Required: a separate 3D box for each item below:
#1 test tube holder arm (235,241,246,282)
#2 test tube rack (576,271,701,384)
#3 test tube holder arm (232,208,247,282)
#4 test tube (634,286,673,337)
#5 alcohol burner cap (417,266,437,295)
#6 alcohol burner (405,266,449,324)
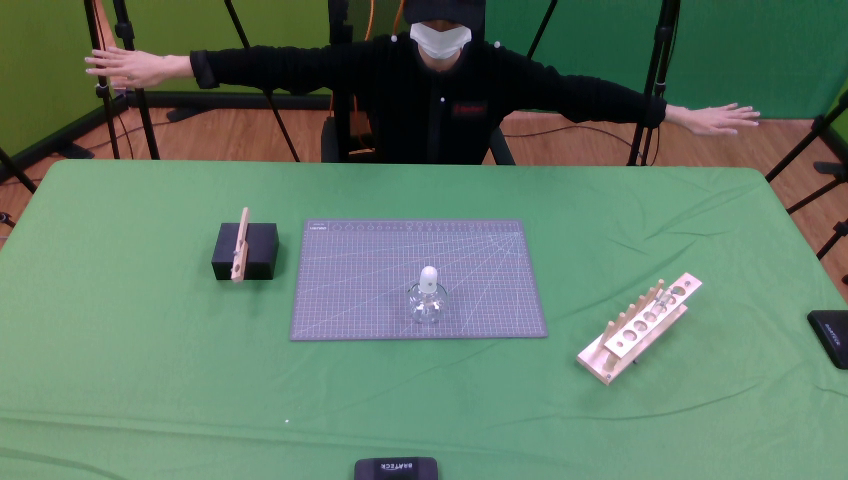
[{"bbox_3d":[-0.323,0.037,1.071,0.010,0.015,0.087,-9,46,-2],"label":"test tube holder arm"},{"bbox_3d":[0.373,0.138,1.047,0.242,0.085,0.066,-31,56,-29],"label":"test tube rack"},{"bbox_3d":[-0.335,0.006,1.102,0.013,0.015,0.177,-9,46,-2],"label":"test tube holder arm"},{"bbox_3d":[0.374,0.123,0.993,0.017,0.151,0.017,2,52,-2],"label":"test tube"},{"bbox_3d":[0.006,0.065,1.017,0.034,0.048,0.033,4,42,-3],"label":"alcohol burner cap"},{"bbox_3d":[0.005,0.089,1.043,0.078,0.120,0.077,1,45,-1],"label":"alcohol burner"}]
